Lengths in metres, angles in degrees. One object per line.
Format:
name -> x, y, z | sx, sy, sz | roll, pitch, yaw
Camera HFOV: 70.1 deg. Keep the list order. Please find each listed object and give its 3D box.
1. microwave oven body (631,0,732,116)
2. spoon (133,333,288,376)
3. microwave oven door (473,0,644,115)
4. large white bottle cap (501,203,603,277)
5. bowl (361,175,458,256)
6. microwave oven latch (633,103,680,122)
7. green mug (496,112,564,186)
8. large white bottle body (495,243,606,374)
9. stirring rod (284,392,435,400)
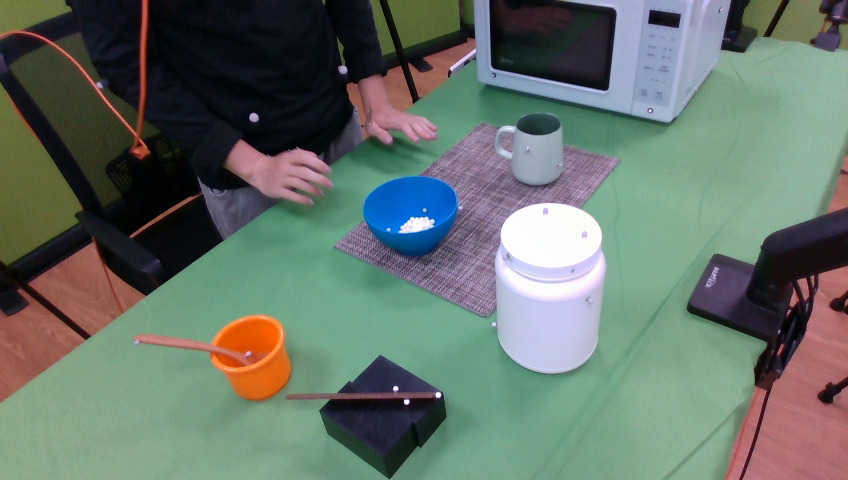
microwave oven body -> 0.377, -0.462, 1.267 | 0.438, 0.261, 0.327 | 21, 48, 30
spoon -> -0.257, 0.137, 0.747 | 0.021, 0.195, 0.041 | -47, 40, 22
microwave oven door -> 0.257, -0.396, 1.199 | 0.353, 0.245, 0.039 | 21, 48, 29
large white bottle cap -> 0.146, -0.003, 0.693 | 0.115, 0.018, 0.114 | -4, 41, 4
bowl -> -0.019, -0.028, 0.955 | 0.151, 0.077, 0.150 | -4, 40, 4
microwave oven latch -> 0.444, -0.249, 1.157 | 0.078, 0.029, 0.030 | 21, 48, 30
green mug -> 0.184, -0.161, 1.061 | 0.124, 0.105, 0.092 | 15, 46, 24
large white bottle body -> 0.155, 0.061, 0.748 | 0.130, 0.185, 0.130 | -4, 40, 4
stirring rod -> -0.075, 0.180, 0.697 | 0.176, 0.006, 0.014 | -2, 6, 6
